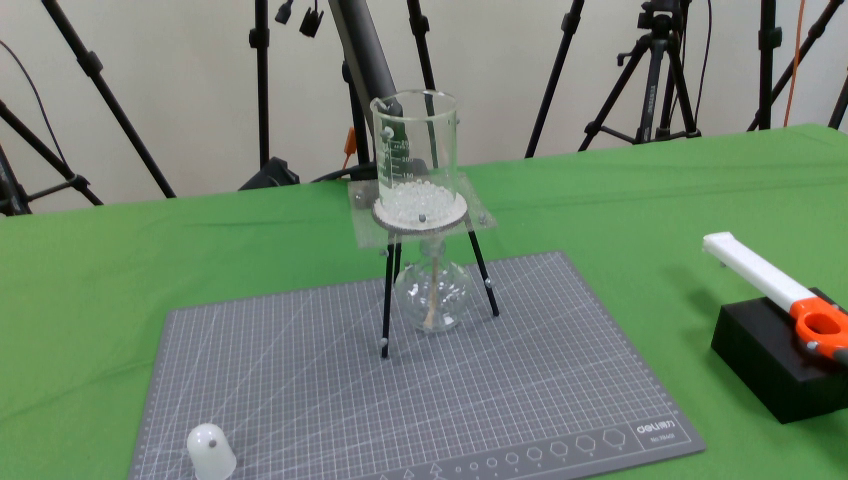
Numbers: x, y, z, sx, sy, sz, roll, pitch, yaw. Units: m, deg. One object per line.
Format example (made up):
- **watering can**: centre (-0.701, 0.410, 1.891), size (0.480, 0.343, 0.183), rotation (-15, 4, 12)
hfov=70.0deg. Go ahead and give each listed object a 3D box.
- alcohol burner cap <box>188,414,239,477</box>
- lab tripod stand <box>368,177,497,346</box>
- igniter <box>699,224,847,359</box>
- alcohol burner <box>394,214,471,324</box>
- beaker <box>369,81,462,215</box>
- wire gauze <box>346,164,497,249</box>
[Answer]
- **alcohol burner cap**: centre (-0.165, 0.156, 0.472), size (0.034, 0.048, 0.033), rotation (-1, 34, 1)
- **lab tripod stand**: centre (0.000, 0.015, 0.593), size (0.148, 0.132, 0.147), rotation (-1, 32, 1)
- **igniter**: centre (0.333, 0.057, 0.523), size (0.057, 0.025, 0.273), rotation (-10, 31, -9)
- **alcohol burner**: centre (0.009, 0.024, 0.596), size (0.078, 0.120, 0.077), rotation (-1, 35, 1)
- **beaker**: centre (-0.009, -0.079, 0.528), size (0.083, 0.101, 0.074), rotation (27, 42, 37)
- **wire gauze**: centre (-0.007, -0.038, 0.554), size (0.122, 0.011, 0.123), rotation (-8, 36, -8)
